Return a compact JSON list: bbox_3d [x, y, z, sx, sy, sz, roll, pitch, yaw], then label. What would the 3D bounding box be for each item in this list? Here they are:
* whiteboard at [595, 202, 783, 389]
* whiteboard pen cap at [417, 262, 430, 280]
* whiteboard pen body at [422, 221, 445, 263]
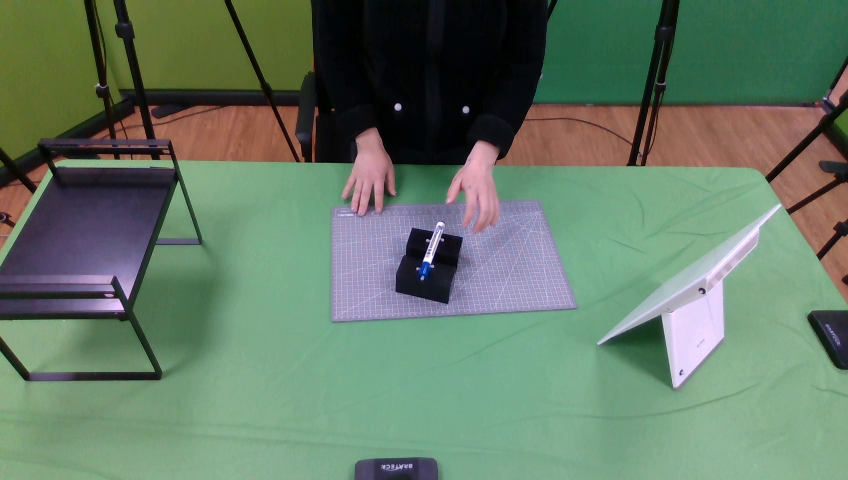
[{"bbox_3d":[0.459,0.112,0.968,0.217,0.306,0.143,-31,74,-29],"label":"whiteboard"},{"bbox_3d":[0.000,0.053,1.075,0.018,0.018,0.033,13,44,9],"label":"whiteboard pen cap"},{"bbox_3d":[0.015,0.013,1.115,0.017,0.017,0.140,14,45,9],"label":"whiteboard pen body"}]
